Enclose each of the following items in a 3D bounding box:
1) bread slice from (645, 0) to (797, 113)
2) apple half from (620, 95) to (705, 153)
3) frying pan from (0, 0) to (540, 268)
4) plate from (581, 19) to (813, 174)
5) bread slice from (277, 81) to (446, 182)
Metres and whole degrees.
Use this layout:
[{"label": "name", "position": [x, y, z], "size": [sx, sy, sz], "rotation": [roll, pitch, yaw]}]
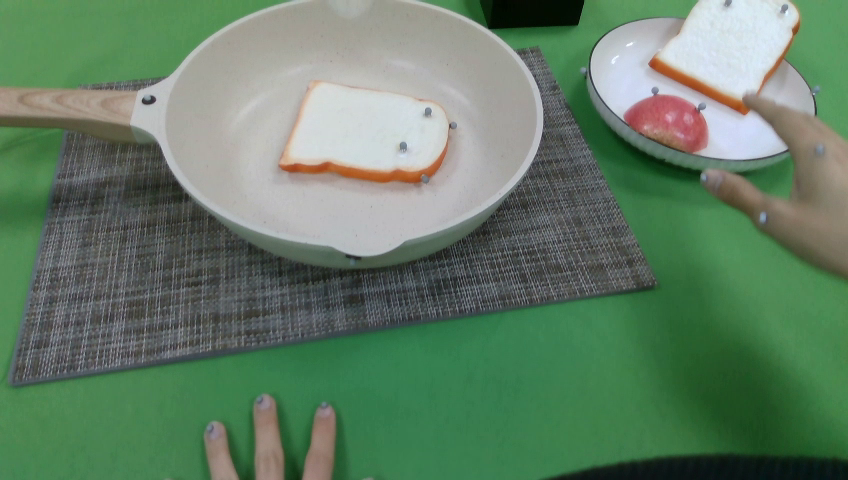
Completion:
[{"label": "bread slice", "position": [0.298, -0.198, 0.596], "size": [0.104, 0.019, 0.131], "rotation": [34, 78, 19]}, {"label": "apple half", "position": [0.212, -0.106, 0.524], "size": [0.081, 0.033, 0.080], "rotation": [13, 29, -7]}, {"label": "frying pan", "position": [-0.158, -0.095, 0.469], "size": [0.489, 0.103, 0.303], "rotation": [2, 51, -12]}, {"label": "plate", "position": [0.249, -0.134, 0.571], "size": [0.208, 0.039, 0.205], "rotation": [2, 52, -2]}, {"label": "bread slice", "position": [-0.048, -0.093, 0.523], "size": [0.134, 0.018, 0.106], "rotation": [5, 53, 1]}]
